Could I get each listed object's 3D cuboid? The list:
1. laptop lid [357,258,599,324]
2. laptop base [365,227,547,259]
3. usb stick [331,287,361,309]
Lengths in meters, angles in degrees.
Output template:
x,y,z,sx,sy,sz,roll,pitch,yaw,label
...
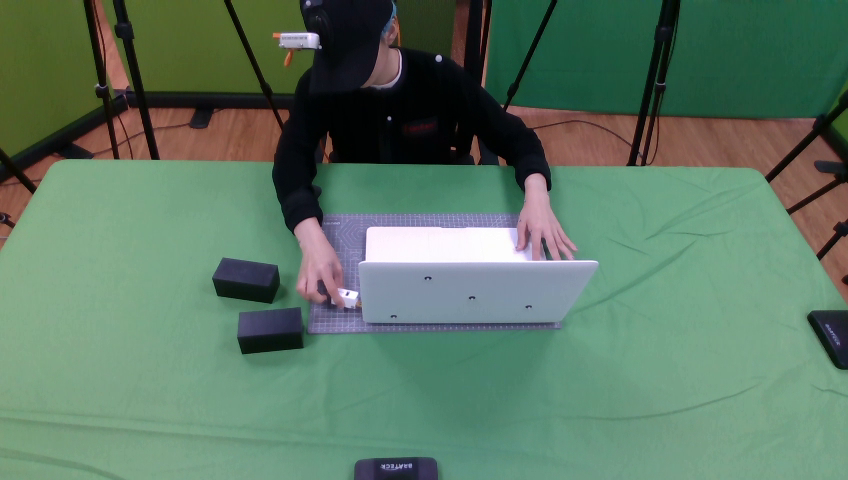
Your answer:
x,y,z,sx,sy,sz,roll,pitch,yaw,label
0.075,0.087,0.960,0.357,0.242,0.013,1,60,-5,laptop lid
0.065,0.062,1.145,0.355,0.023,0.234,0,43,-4,laptop base
-0.133,0.104,1.068,0.059,0.027,0.021,17,40,1,usb stick
